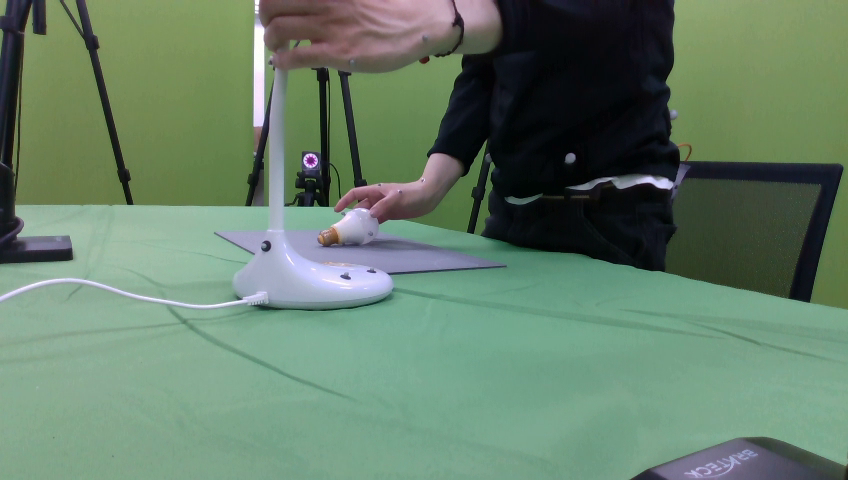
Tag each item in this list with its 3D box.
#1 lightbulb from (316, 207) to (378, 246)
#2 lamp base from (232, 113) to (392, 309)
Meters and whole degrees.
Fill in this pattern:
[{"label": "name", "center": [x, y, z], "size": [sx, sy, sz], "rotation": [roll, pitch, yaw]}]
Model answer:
[{"label": "lightbulb", "center": [-0.123, -0.016, 0.967], "size": [0.108, 0.059, 0.059], "rotation": [-22, 20, -33]}, {"label": "lamp base", "center": [-0.114, -0.032, 0.594], "size": [0.160, 0.180, 0.179], "rotation": [4, 10, 18]}]
